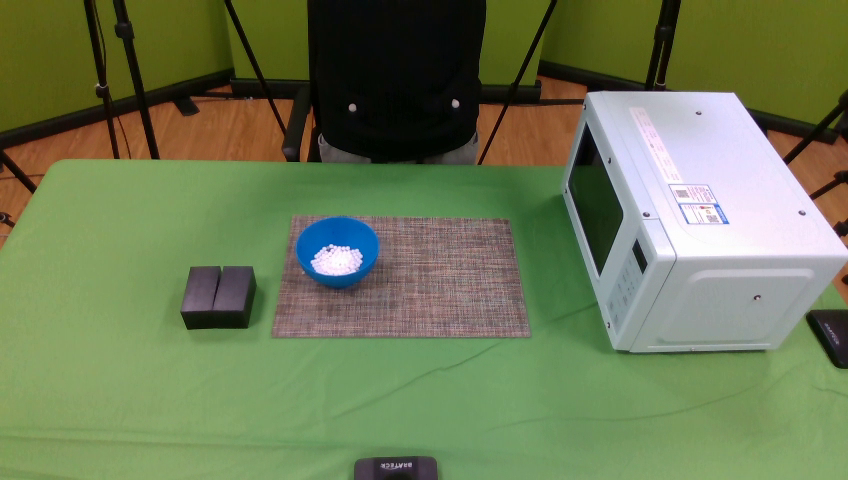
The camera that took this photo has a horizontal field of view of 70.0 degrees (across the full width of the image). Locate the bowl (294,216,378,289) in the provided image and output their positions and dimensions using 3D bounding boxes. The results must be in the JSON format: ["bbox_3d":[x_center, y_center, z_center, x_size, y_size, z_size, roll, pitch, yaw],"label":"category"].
[{"bbox_3d":[-0.158,0.036,1.110,0.151,0.077,0.150,3,45,-2],"label":"bowl"}]

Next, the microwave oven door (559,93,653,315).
[{"bbox_3d":[0.327,-0.074,1.123,0.039,0.245,0.353,-1,46,-5],"label":"microwave oven door"}]

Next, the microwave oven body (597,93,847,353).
[{"bbox_3d":[0.475,-0.041,1.109,0.326,0.261,0.438,-1,45,-4],"label":"microwave oven body"}]

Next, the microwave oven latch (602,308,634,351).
[{"bbox_3d":[0.332,0.153,1.044,0.030,0.029,0.078,-1,45,-4],"label":"microwave oven latch"}]
